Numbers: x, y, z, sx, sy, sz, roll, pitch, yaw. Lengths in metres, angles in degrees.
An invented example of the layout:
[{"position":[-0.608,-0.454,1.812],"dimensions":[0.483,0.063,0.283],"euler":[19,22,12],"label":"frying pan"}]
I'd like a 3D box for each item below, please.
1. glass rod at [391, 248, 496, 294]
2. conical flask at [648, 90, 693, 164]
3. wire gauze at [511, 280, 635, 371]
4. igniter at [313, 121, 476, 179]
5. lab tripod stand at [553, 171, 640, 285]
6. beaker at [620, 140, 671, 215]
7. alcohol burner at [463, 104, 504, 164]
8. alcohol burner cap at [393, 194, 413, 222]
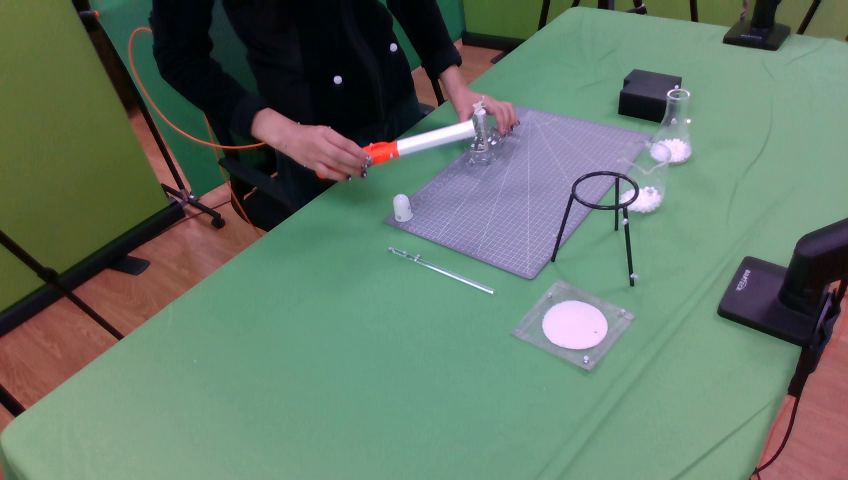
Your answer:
[{"position":[0.026,0.045,0.937],"dimensions":[0.198,0.008,0.008],"euler":[21,49,31],"label":"glass rod"},{"position":[0.437,-0.199,1.057],"dimensions":[0.075,0.122,0.075],"euler":[-5,40,5],"label":"conical flask"},{"position":[0.203,0.114,0.822],"dimensions":[0.120,0.011,0.125],"euler":[25,52,35],"label":"wire gauze"},{"position":[-0.052,-0.144,0.981],"dimensions":[0.276,0.025,0.057],"euler":[-14,37,9],"label":"igniter"},{"position":[0.260,-0.025,0.877],"dimensions":[0.148,0.132,0.147],"euler":[-6,38,5],"label":"lab tripod stand"},{"position":[0.352,-0.096,0.971],"dimensions":[0.074,0.101,0.084],"euler":[1,42,13],"label":"beaker"},{"position":[0.109,-0.202,1.126],"dimensions":[0.078,0.119,0.077],"euler":[-5,42,5],"label":"alcohol burner"},{"position":[-0.038,-0.057,1.038],"dimensions":[0.034,0.048,0.033],"euler":[-6,41,6],"label":"alcohol burner cap"}]
